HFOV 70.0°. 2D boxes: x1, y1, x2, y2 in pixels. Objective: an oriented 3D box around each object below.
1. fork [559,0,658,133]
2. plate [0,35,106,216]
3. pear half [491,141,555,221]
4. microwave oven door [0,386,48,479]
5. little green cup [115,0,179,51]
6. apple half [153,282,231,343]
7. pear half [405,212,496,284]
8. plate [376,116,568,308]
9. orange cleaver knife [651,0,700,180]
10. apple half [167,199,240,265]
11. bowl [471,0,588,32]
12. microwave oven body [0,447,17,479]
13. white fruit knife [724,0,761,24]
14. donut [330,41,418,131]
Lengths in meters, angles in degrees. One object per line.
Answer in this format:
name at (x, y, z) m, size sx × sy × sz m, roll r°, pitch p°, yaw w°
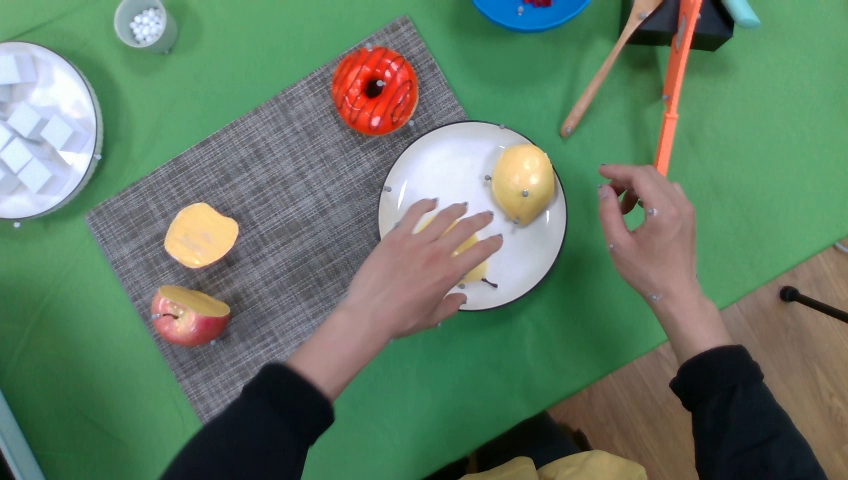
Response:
fork at (0.200, -0.202, 0.635) m, size 0.028 × 0.018 × 0.208 m, roll 27°, pitch 113°, yaw -4°
plate at (-0.469, -0.131, 0.712) m, size 0.207 × 0.039 × 0.207 m, roll 0°, pitch 91°, yaw 4°
pear half at (0.102, -0.062, 0.651) m, size 0.070 × 0.031 × 0.088 m, roll 7°, pitch 101°, yaw 27°
microwave oven door at (-0.479, 0.268, 0.600) m, size 0.039 × 0.244 × 0.355 m, roll -28°, pitch 88°, yaw 4°
little green cup at (-0.316, -0.249, 0.698) m, size 0.061 × 0.038 × 0.061 m, roll 0°, pitch 91°, yaw 5°
apple half at (-0.263, 0.086, 0.679) m, size 0.081 × 0.074 × 0.053 m, roll 24°, pitch 96°, yaw 0°
pear half at (0.035, 0.017, 0.659) m, size 0.110 × 0.056 × 0.076 m, roll 32°, pitch 98°, yaw -4°
plate at (0.052, -0.030, 0.670) m, size 0.209 × 0.038 × 0.209 m, roll 0°, pitch 91°, yaw 4°
orange cleaver knife at (0.260, -0.170, 0.633) m, size 0.012 × 0.077 × 0.213 m, roll 6°, pitch 117°, yaw 9°
apple half at (-0.251, -0.003, 0.692) m, size 0.081 × 0.033 × 0.080 m, roll 1°, pitch 67°, yaw -3°
bowl at (0.111, -0.289, 0.645) m, size 0.151 × 0.077 × 0.151 m, roll 0°, pitch 92°, yaw 4°
microwave oven body at (-0.627, 0.298, 0.617) m, size 0.326 × 0.260 × 0.441 m, roll -28°, pitch 89°, yaw 4°
white fruit knife at (0.279, -0.307, 0.613) m, size 0.027 × 0.016 × 0.207 m, roll -28°, pitch 86°, yaw -25°
donut at (-0.056, -0.170, 0.673) m, size 0.099 × 0.048 × 0.099 m, roll 0°, pitch 93°, yaw 7°
